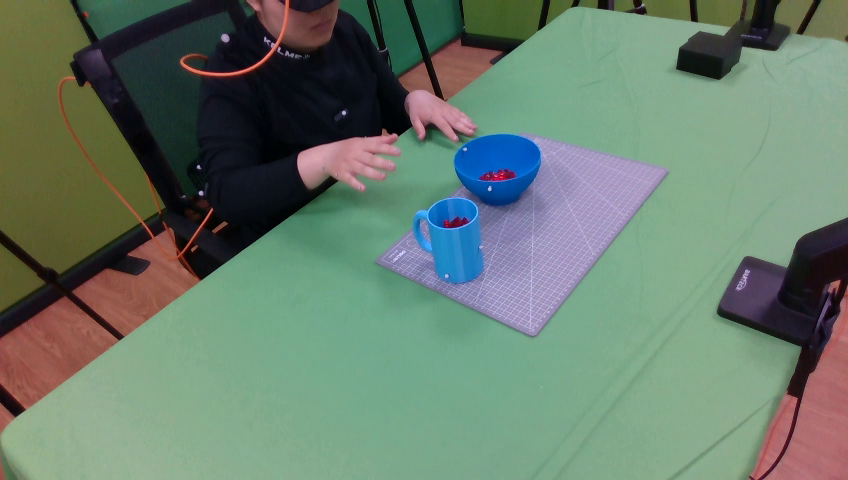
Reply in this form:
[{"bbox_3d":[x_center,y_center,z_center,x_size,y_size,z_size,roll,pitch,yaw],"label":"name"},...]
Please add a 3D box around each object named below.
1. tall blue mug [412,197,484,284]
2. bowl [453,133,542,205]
[{"bbox_3d":[0.033,0.002,0.903,0.107,0.108,0.077,-3,41,9],"label":"tall blue mug"},{"bbox_3d":[0.129,-0.113,1.045,0.151,0.077,0.150,-5,40,5],"label":"bowl"}]
